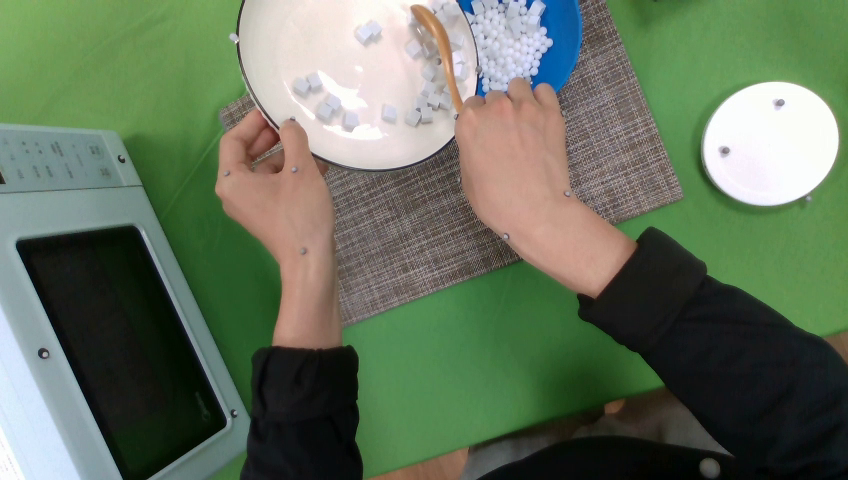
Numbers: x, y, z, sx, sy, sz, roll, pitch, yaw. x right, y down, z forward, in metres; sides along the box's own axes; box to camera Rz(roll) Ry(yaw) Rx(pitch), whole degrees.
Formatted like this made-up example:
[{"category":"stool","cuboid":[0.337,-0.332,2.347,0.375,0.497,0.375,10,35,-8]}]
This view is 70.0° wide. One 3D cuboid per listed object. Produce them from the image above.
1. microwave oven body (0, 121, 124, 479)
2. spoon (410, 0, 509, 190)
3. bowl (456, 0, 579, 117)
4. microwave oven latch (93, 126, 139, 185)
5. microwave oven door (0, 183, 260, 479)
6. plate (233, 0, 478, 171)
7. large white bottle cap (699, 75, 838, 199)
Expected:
[{"category":"microwave oven body","cuboid":[-0.472,0.130,0.716,0.326,0.260,0.441,-25,91,18]},{"category":"spoon","cuboid":[0.029,-0.125,0.511,0.021,0.042,0.192,-19,75,-1]},{"category":"bowl","cuboid":[0.077,-0.194,0.591,0.151,0.077,0.151,3,100,17]},{"category":"microwave oven latch","cuboid":[-0.390,-0.103,0.756,0.030,0.029,0.079,-24,91,18]},{"category":"microwave oven door","cuboid":[-0.331,0.110,0.664,0.039,0.244,0.355,-25,90,19]},{"category":"plate","cuboid":[-0.055,-0.158,0.525,0.210,0.038,0.208,3,82,-19]},{"category":"large white bottle cap","cuboid":[0.320,-0.095,0.567,0.114,0.018,0.115,2,99,16]}]
